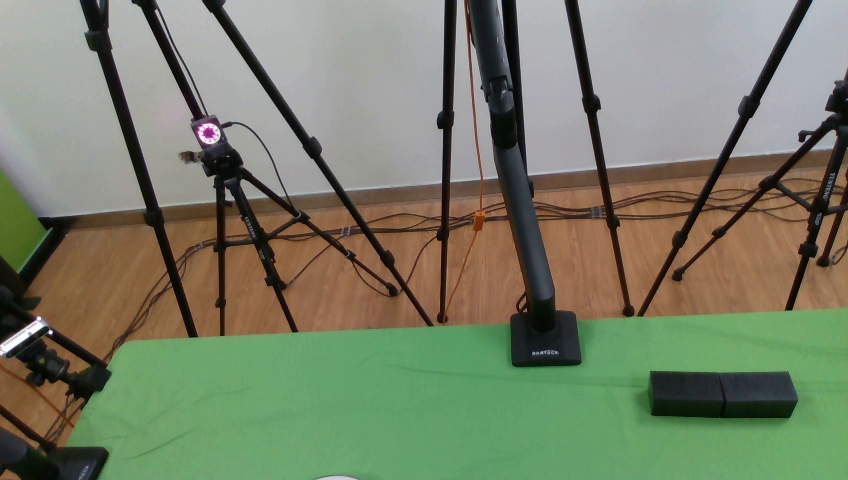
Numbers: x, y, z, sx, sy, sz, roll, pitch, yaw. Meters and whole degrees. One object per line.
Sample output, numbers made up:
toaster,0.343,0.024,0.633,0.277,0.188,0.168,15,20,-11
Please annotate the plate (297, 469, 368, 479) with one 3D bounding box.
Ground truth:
plate,-0.145,0.437,0.872,0.207,0.039,0.205,-7,43,7
